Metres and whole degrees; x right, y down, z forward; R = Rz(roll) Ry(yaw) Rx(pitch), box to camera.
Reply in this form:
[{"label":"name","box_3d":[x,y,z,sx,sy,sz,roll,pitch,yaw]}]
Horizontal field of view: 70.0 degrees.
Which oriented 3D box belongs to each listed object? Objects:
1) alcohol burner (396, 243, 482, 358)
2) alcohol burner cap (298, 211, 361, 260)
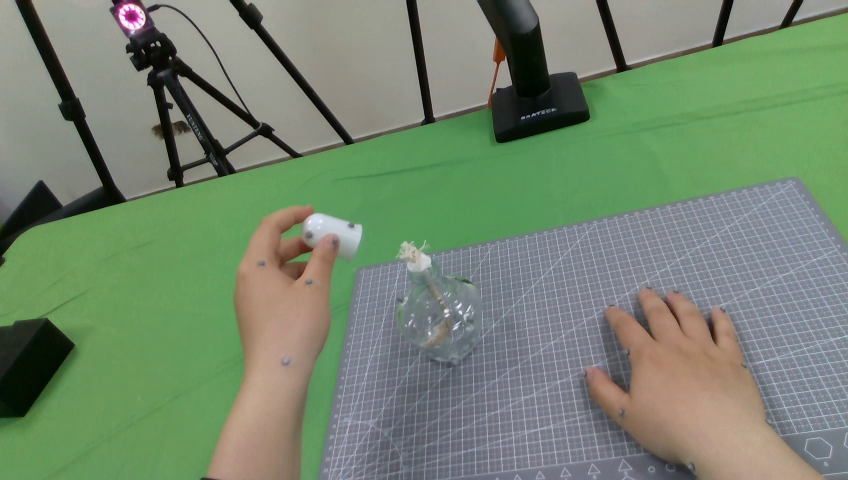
[{"label":"alcohol burner","box_3d":[0.008,0.046,0.519,0.078,0.120,0.077,-11,41,10]},{"label":"alcohol burner cap","box_3d":[-0.076,-0.007,0.483,0.034,0.048,0.033,-47,32,43]}]
